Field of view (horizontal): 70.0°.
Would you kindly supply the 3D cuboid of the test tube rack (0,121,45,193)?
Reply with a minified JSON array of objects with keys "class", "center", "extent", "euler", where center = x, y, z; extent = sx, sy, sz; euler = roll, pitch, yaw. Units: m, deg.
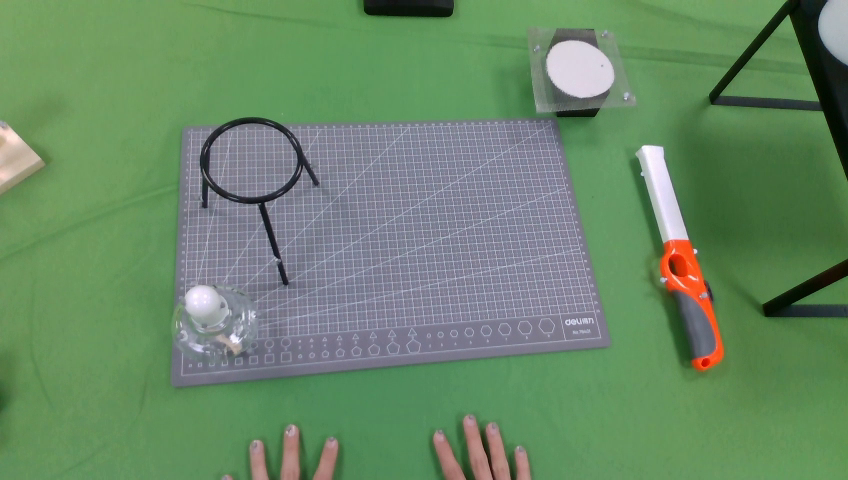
[{"class":"test tube rack","center":[-0.512,-0.044,0.582],"extent":[0.066,0.085,0.242],"euler":[42,67,11]}]

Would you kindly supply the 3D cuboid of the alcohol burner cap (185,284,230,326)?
[{"class":"alcohol burner cap","center":[-0.189,0.055,0.524],"extent":[0.034,0.048,0.033],"euler":[2,72,-6]}]

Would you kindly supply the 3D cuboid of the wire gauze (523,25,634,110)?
[{"class":"wire gauze","center":[0.186,-0.213,0.741],"extent":[0.122,0.011,0.124],"euler":[-2,67,-8]}]

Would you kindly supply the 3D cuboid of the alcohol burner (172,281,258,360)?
[{"class":"alcohol burner","center":[-0.194,0.068,0.557],"extent":[0.078,0.120,0.077],"euler":[4,64,-8]}]

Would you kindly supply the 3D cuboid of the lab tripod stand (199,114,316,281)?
[{"class":"lab tripod stand","center":[-0.160,-0.046,0.601],"extent":[0.149,0.132,0.147],"euler":[4,66,-8]}]

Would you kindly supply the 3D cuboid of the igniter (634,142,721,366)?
[{"class":"igniter","center":[0.290,0.008,0.700],"extent":[0.057,0.025,0.274],"euler":[1,66,-18]}]

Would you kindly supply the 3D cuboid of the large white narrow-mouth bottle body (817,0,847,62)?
[{"class":"large white narrow-mouth bottle body","center":[0.465,-0.255,0.550],"extent":[0.102,0.196,0.101],"euler":[3,65,-6]}]
